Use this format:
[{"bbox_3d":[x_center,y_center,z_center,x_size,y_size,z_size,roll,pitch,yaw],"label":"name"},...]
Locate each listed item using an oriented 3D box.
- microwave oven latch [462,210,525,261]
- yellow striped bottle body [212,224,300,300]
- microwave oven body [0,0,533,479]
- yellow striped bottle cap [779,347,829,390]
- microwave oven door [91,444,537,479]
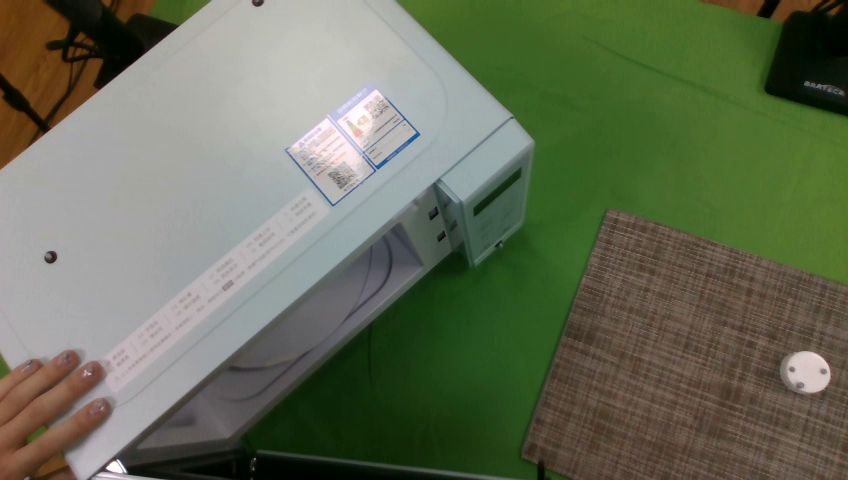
[{"bbox_3d":[0.078,-0.013,0.688,0.079,0.029,0.030,-40,75,-3],"label":"microwave oven latch"},{"bbox_3d":[-0.172,0.023,0.616,0.063,0.121,0.062,-1,77,3],"label":"yellow striped bottle body"},{"bbox_3d":[-0.163,-0.026,0.619,0.441,0.261,0.324,-41,75,-4],"label":"microwave oven body"},{"bbox_3d":[0.401,0.135,0.639,0.044,0.019,0.044,-2,76,8],"label":"yellow striped bottle cap"},{"bbox_3d":[-0.061,0.227,0.538,0.355,0.245,0.039,3,75,8],"label":"microwave oven door"}]
